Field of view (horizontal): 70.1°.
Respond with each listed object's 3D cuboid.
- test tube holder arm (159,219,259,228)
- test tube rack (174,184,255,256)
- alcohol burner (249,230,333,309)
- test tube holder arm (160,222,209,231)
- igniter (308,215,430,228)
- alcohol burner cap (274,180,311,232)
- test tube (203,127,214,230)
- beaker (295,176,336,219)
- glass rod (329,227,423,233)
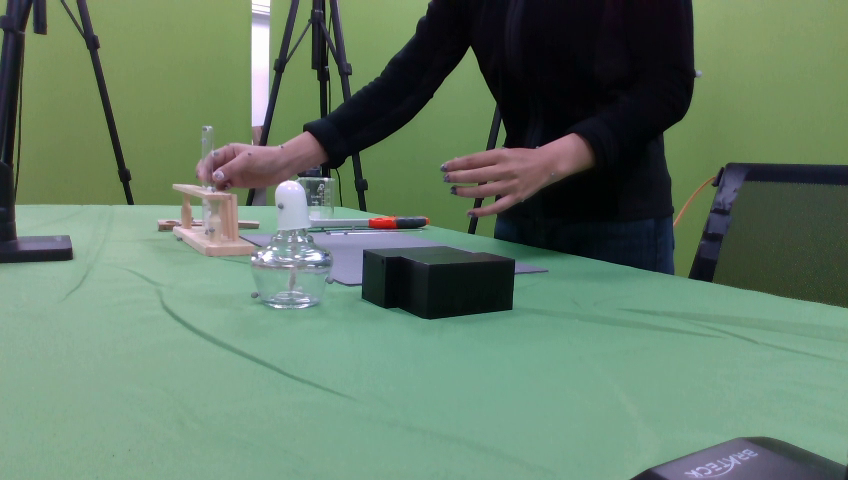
[{"bbox_3d":[-0.390,-0.030,1.107,0.179,0.015,0.013,-3,45,-39],"label":"test tube holder arm"},{"bbox_3d":[-0.327,-0.036,0.928,0.067,0.085,0.241,-2,9,-32],"label":"test tube rack"},{"bbox_3d":[-0.125,0.004,0.568,0.078,0.119,0.078,1,9,0],"label":"alcohol burner"},{"bbox_3d":[-0.423,-0.024,1.076,0.088,0.015,0.010,-2,45,-38],"label":"test tube holder arm"},{"bbox_3d":[-0.108,-0.037,1.228,0.278,0.025,0.057,-3,-1,-36],"label":"igniter"},{"bbox_3d":[-0.125,-0.032,0.563,0.034,0.048,0.034,-5,6,1],"label":"alcohol burner cap"},{"bbox_3d":[-0.314,-0.089,0.881,0.017,0.150,0.017,1,2,0],"label":"test tube"},{"bbox_3d":[-0.224,-0.080,1.247,0.084,0.100,0.073,-1,8,-18],"label":"beaker"},{"bbox_3d":[-0.087,-0.019,1.148,0.201,0.008,0.008,-3,8,-32],"label":"glass rod"}]
